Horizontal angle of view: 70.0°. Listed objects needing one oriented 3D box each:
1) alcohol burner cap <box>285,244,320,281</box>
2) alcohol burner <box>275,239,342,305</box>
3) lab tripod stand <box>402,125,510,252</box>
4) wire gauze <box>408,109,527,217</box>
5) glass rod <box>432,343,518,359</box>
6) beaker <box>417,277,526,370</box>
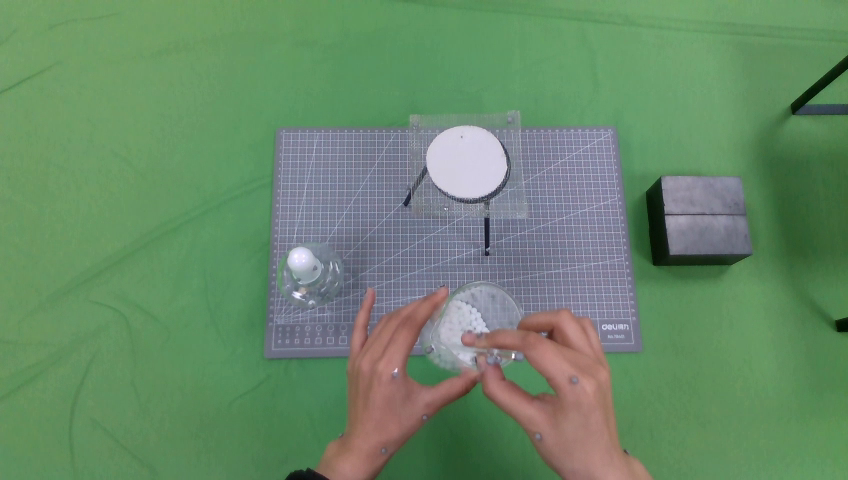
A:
[{"bbox_3d":[-0.132,0.022,0.648,0.034,0.048,0.033,0,68,1],"label":"alcohol burner cap"},{"bbox_3d":[-0.132,0.032,0.683,0.078,0.119,0.077,1,75,-2],"label":"alcohol burner"},{"bbox_3d":[0.047,-0.068,0.708,0.148,0.132,0.147,0,72,-1],"label":"lab tripod stand"},{"bbox_3d":[0.045,-0.083,0.643,0.125,0.011,0.121,0,74,-2],"label":"wire gauze"},{"bbox_3d":[0.033,0.086,0.472,0.008,0.199,0.008,2,81,-14],"label":"glass rod"},{"bbox_3d":[0.034,0.080,0.538,0.084,0.100,0.073,-11,79,-15],"label":"beaker"}]
